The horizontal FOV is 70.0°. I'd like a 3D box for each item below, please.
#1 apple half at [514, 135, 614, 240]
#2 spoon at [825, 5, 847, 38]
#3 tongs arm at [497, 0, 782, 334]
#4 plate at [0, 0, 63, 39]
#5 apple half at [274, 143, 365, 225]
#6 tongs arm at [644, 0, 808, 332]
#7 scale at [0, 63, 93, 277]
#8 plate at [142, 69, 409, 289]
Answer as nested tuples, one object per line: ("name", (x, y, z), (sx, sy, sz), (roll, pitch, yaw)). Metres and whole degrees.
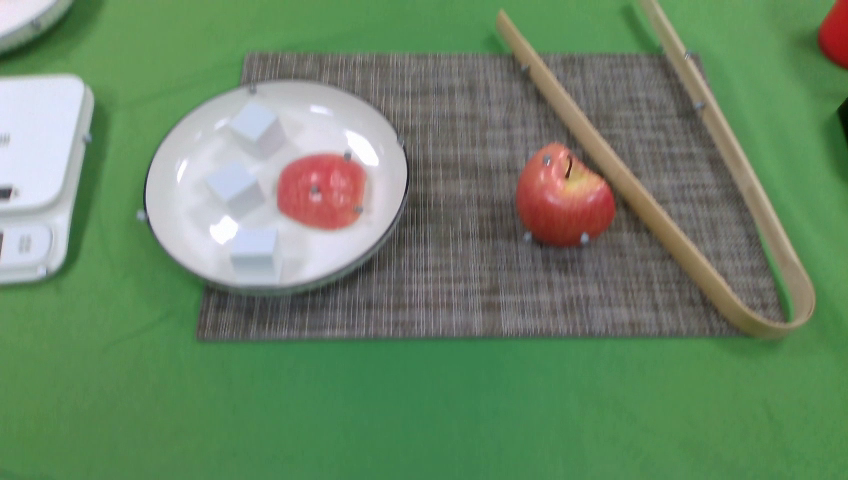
("apple half", (0.100, -0.033, 0.472), (0.053, 0.075, 0.080), (-36, 71, -14))
("spoon", (0.480, -0.247, 0.560), (0.193, 0.022, 0.041), (-29, 52, 34))
("tongs arm", (0.163, -0.082, 0.526), (0.028, 0.028, 0.384), (-22, 65, -17))
("plate", (-0.447, -0.264, 0.605), (0.208, 0.039, 0.206), (1, 62, -1))
("apple half", (-0.086, -0.054, 0.492), (0.081, 0.033, 0.080), (2, 62, -4))
("tongs arm", (0.243, -0.105, 0.538), (0.051, 0.027, 0.381), (-10, 63, -8))
("scale", (-0.364, -0.062, 0.502), (0.149, 0.032, 0.199), (-5, 62, -4))
("plate", (-0.116, -0.051, 0.495), (0.209, 0.038, 0.207), (1, 61, -1))
